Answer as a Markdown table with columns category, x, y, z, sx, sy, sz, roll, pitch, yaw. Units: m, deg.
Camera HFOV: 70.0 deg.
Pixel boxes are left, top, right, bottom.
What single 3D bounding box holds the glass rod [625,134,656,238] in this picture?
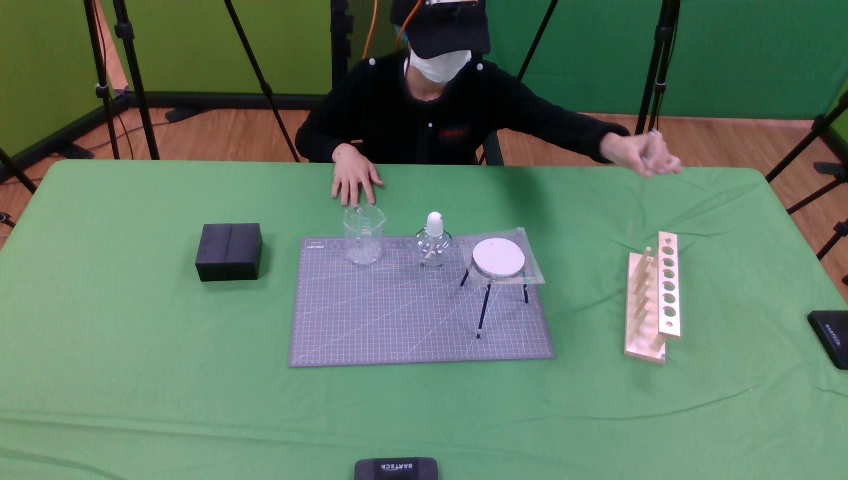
| category | x | y | z | sx | sy | sz | roll | pitch | yaw |
| --- | --- | --- | --- | --- | --- | --- | --- | --- | --- |
| glass rod | 0.353 | -0.083 | 0.992 | 0.008 | 0.200 | 0.008 | 1 | 37 | 0 |

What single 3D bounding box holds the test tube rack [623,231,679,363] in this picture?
| category | x | y | z | sx | sy | sz | roll | pitch | yaw |
| --- | --- | --- | --- | --- | --- | --- | --- | --- | --- |
| test tube rack | 0.410 | 0.094 | 1.096 | 0.066 | 0.085 | 0.241 | 13 | 46 | 9 |

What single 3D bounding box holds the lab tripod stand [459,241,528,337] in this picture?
| category | x | y | z | sx | sy | sz | roll | pitch | yaw |
| --- | --- | --- | --- | --- | --- | --- | --- | --- | --- |
| lab tripod stand | 0.122 | 0.075 | 1.054 | 0.148 | 0.132 | 0.147 | 3 | 44 | -3 |

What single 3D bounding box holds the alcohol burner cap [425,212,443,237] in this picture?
| category | x | y | z | sx | sy | sz | roll | pitch | yaw |
| --- | --- | --- | --- | --- | --- | --- | --- | --- | --- |
| alcohol burner cap | 0.019 | -0.032 | 1.114 | 0.034 | 0.048 | 0.033 | 0 | 48 | 0 |

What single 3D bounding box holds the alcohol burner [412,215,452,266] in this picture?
| category | x | y | z | sx | sy | sz | roll | pitch | yaw |
| --- | --- | --- | --- | --- | --- | --- | --- | --- | --- |
| alcohol burner | 0.017 | -0.006 | 1.139 | 0.078 | 0.119 | 0.077 | 2 | 48 | -2 |

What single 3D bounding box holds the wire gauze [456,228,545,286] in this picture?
| category | x | y | z | sx | sy | sz | roll | pitch | yaw |
| --- | --- | --- | --- | --- | --- | --- | --- | --- | --- |
| wire gauze | 0.126 | 0.029 | 1.006 | 0.125 | 0.011 | 0.120 | -4 | 46 | -10 |

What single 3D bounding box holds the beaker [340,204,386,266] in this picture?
| category | x | y | z | sx | sy | sz | roll | pitch | yaw |
| --- | --- | --- | --- | --- | --- | --- | --- | --- | --- |
| beaker | -0.114 | -0.008 | 1.140 | 0.084 | 0.101 | 0.073 | -3 | 46 | -8 |
